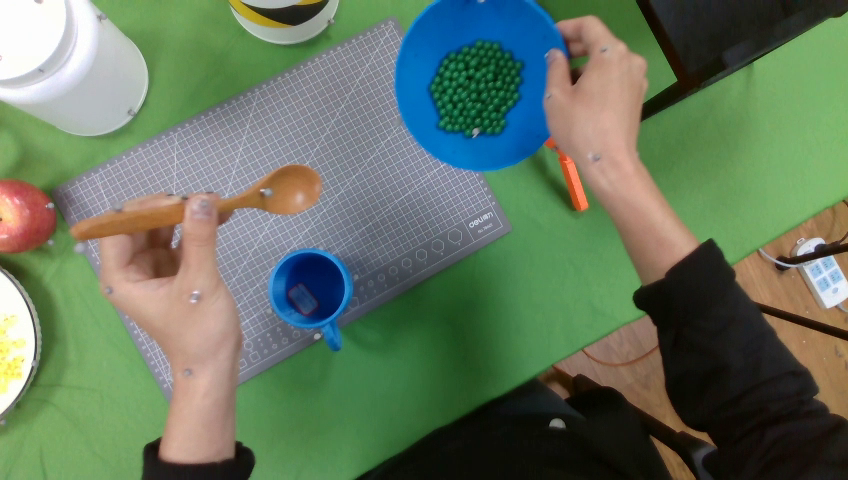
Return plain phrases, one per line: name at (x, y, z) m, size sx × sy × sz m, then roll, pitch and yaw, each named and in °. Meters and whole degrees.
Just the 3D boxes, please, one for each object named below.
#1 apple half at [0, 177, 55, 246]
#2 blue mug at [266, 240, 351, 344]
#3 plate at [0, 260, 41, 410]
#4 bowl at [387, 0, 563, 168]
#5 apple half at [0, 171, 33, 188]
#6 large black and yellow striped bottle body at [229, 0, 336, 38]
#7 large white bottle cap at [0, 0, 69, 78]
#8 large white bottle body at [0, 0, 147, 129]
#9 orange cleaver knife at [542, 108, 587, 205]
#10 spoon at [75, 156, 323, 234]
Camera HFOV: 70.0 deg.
apple half at (-0.438, -0.023, 0.658) m, size 0.081 × 0.074 × 0.053 m, roll -44°, pitch 96°, yaw -9°
blue mug at (-0.118, 0.060, 0.667) m, size 0.082 × 0.106 × 0.116 m, roll -21°, pitch 90°, yaw -6°
plate at (-0.526, 0.104, 0.663) m, size 0.209 × 0.038 × 0.209 m, roll 0°, pitch 89°, yaw -5°
bowl at (0.041, -0.142, 0.544) m, size 0.151 × 0.076 × 0.152 m, roll -1°, pitch 100°, yaw -4°
apple half at (-0.465, -0.051, 0.655) m, size 0.081 × 0.081 × 0.033 m, roll -44°, pitch 97°, yaw -5°
large black and yellow striped bottle body at (-0.162, -0.307, 0.637) m, size 0.131 × 0.184 × 0.130 m, roll 0°, pitch 87°, yaw -5°
large white bottle cap at (-0.372, -0.200, 0.528) m, size 0.115 × 0.018 × 0.114 m, roll 0°, pitch 88°, yaw -5°
large white bottle body at (-0.379, -0.196, 0.613) m, size 0.131 × 0.184 × 0.130 m, roll 0°, pitch 87°, yaw -5°
orange cleaver knife at (0.148, -0.135, 0.710) m, size 0.012 × 0.076 × 0.213 m, roll -30°, pitch 122°, yaw -6°
spoon at (-0.136, -0.029, 0.407) m, size 0.021 × 0.194 × 0.042 m, roll 22°, pitch 112°, yaw 23°
